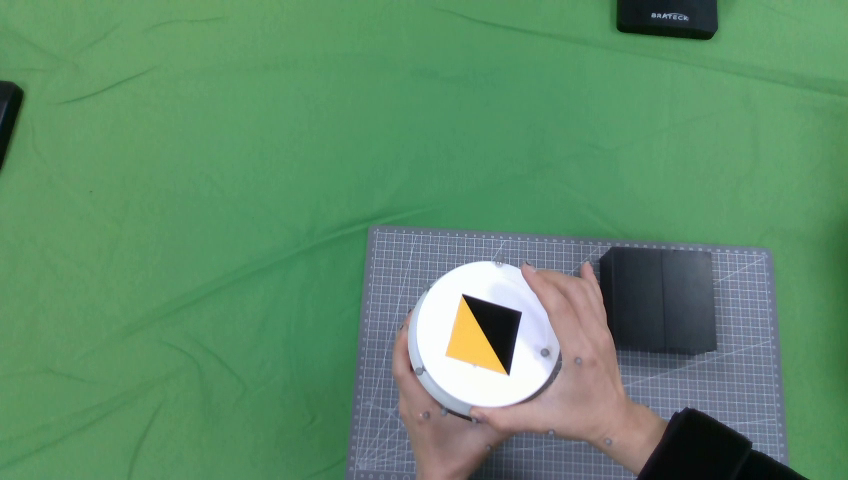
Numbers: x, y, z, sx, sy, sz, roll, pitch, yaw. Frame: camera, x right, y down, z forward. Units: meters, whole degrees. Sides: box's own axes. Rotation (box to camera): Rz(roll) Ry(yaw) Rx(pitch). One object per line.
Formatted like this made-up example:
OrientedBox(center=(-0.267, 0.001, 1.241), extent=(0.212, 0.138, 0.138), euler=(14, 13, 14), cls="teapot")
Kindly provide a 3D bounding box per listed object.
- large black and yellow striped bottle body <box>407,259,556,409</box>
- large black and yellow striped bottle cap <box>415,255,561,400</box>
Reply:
OrientedBox(center=(0.051, 0.089, 0.560), extent=(0.131, 0.185, 0.130), euler=(0, 75, 1), cls="large black and yellow striped bottle body")
OrientedBox(center=(0.050, 0.068, 0.478), extent=(0.115, 0.019, 0.114), euler=(-1, 75, 2), cls="large black and yellow striped bottle cap")
